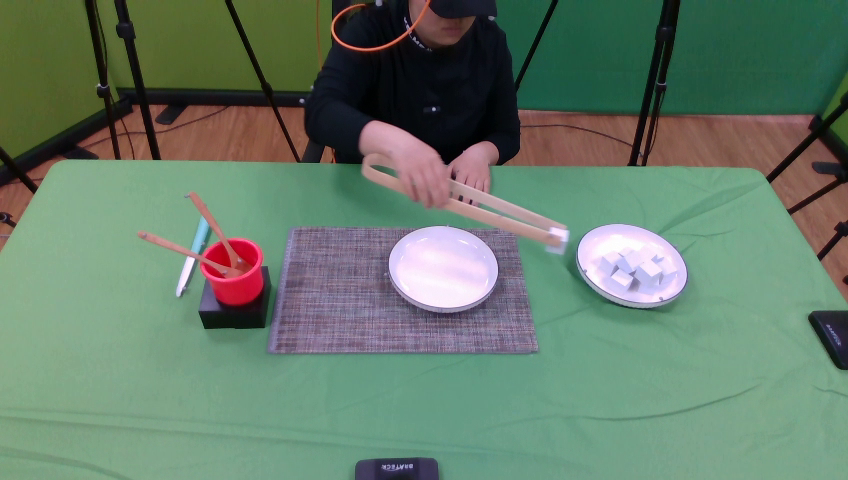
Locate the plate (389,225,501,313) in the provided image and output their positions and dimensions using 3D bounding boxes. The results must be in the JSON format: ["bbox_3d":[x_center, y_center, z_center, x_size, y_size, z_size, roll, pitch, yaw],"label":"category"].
[{"bbox_3d":[0.038,0.057,1.129,0.208,0.039,0.206,2,46,-2],"label":"plate"}]

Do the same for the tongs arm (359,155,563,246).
[{"bbox_3d":[0.062,-0.072,1.081,0.385,0.026,0.050,18,42,3],"label":"tongs arm"}]

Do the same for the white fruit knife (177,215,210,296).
[{"bbox_3d":[-0.435,0.025,1.148,0.027,0.016,0.206,-18,45,18],"label":"white fruit knife"}]

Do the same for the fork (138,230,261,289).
[{"bbox_3d":[-0.359,0.032,0.981,0.208,0.018,0.028,31,60,-30],"label":"fork"}]

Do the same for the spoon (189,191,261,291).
[{"bbox_3d":[-0.333,0.001,1.012,0.041,0.194,0.021,-34,15,-25],"label":"spoon"}]

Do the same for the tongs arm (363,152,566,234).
[{"bbox_3d":[0.070,-0.086,1.099,0.387,0.028,0.028,21,46,6],"label":"tongs arm"}]

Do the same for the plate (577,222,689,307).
[{"bbox_3d":[0.396,0.050,1.165,0.209,0.038,0.208,2,47,-2],"label":"plate"}]
